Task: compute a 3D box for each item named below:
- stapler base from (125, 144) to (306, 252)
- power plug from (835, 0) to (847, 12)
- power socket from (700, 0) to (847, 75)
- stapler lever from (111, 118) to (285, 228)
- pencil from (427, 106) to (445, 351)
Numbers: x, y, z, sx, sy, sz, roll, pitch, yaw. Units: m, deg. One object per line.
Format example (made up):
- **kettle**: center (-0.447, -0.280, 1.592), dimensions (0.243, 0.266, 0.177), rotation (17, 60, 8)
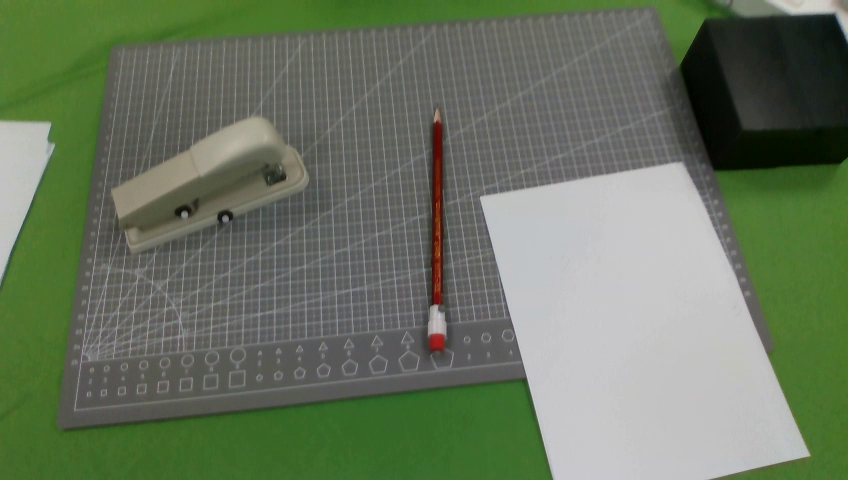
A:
- **stapler base**: center (-0.149, -0.036, 0.423), dimensions (0.130, 0.024, 0.041), rotation (-23, 66, -10)
- **power plug**: center (0.357, -0.204, 0.481), dimensions (0.072, 0.053, 0.035), rotation (-36, 70, -15)
- **power socket**: center (0.283, -0.218, 0.513), dimensions (0.225, 0.033, 0.072), rotation (39, 70, 17)
- **stapler lever**: center (-0.150, -0.045, 0.400), dimensions (0.118, 0.040, 0.026), rotation (-23, 65, -10)
- **pencil**: center (0.008, -0.017, 0.424), dimensions (0.012, 0.012, 0.192), rotation (0, 63, 0)
